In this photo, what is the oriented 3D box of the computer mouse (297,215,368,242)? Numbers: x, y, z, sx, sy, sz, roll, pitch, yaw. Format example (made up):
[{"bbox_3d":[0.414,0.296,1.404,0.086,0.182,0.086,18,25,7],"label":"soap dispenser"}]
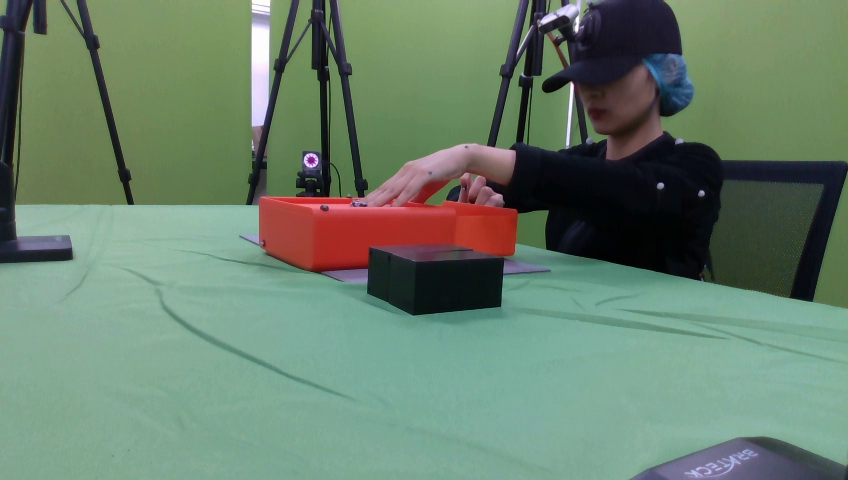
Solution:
[{"bbox_3d":[-0.155,-0.021,1.032,0.118,0.041,0.062,-9,15,-39],"label":"computer mouse"}]

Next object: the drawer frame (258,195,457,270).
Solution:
[{"bbox_3d":[-0.095,-0.018,0.845,0.215,0.082,0.200,-3,10,-34],"label":"drawer frame"}]

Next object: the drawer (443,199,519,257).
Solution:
[{"bbox_3d":[0.001,-0.021,0.910,0.213,0.073,0.193,-3,9,-34],"label":"drawer"}]
